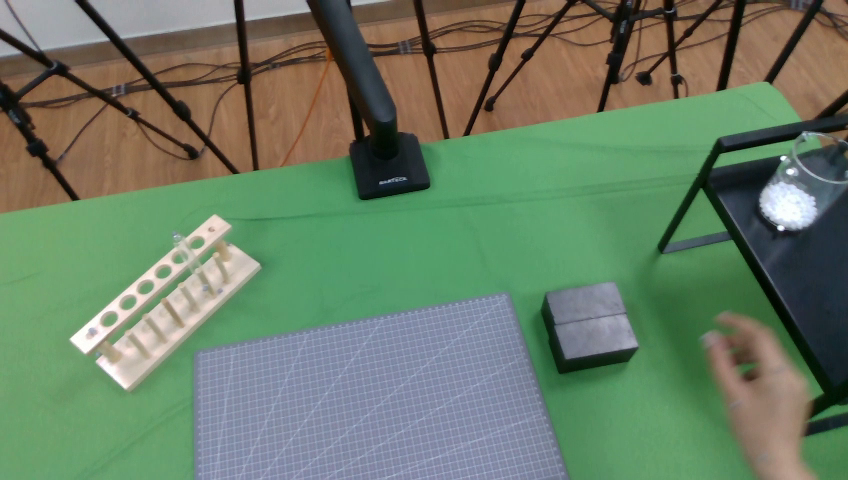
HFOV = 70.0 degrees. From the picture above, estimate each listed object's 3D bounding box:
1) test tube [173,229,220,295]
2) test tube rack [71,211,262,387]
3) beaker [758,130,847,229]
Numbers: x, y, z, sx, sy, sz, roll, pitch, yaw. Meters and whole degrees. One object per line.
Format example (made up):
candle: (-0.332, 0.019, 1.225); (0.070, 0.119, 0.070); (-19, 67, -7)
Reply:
test tube: (-0.302, 0.032, 0.808); (0.017, 0.151, 0.017); (0, 56, 1)
test tube rack: (-0.343, 0.077, 0.833); (0.066, 0.086, 0.242); (33, 63, 20)
beaker: (0.445, -0.068, 0.707); (0.074, 0.101, 0.083); (-7, 57, -5)
